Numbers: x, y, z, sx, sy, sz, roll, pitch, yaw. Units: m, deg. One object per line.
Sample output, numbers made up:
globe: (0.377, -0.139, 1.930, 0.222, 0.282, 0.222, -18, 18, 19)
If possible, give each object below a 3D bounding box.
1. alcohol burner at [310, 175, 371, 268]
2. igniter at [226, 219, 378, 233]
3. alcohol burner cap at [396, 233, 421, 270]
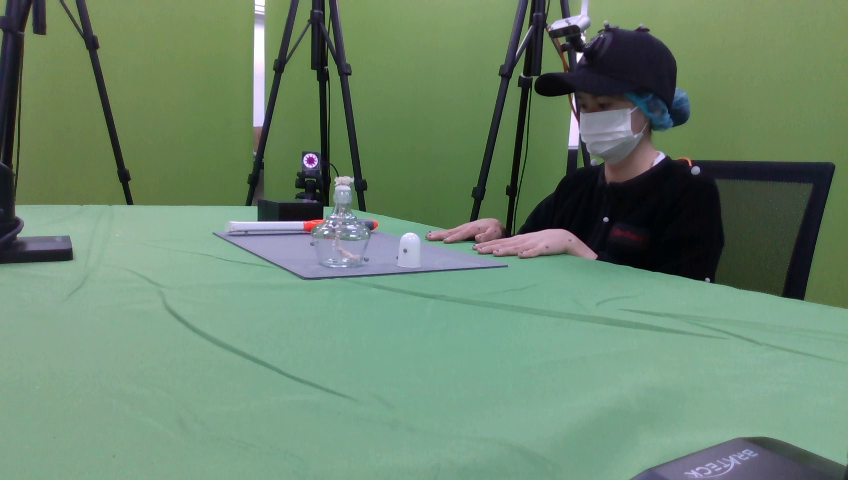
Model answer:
alcohol burner: (-0.107, -0.024, 0.778, 0.078, 0.119, 0.078, 3, 5, 0)
igniter: (-0.213, -0.025, 1.092, 0.278, 0.025, 0.057, -2, -2, -32)
alcohol burner cap: (-0.020, 0.014, 0.795, 0.034, 0.048, 0.034, 2, 6, 0)
